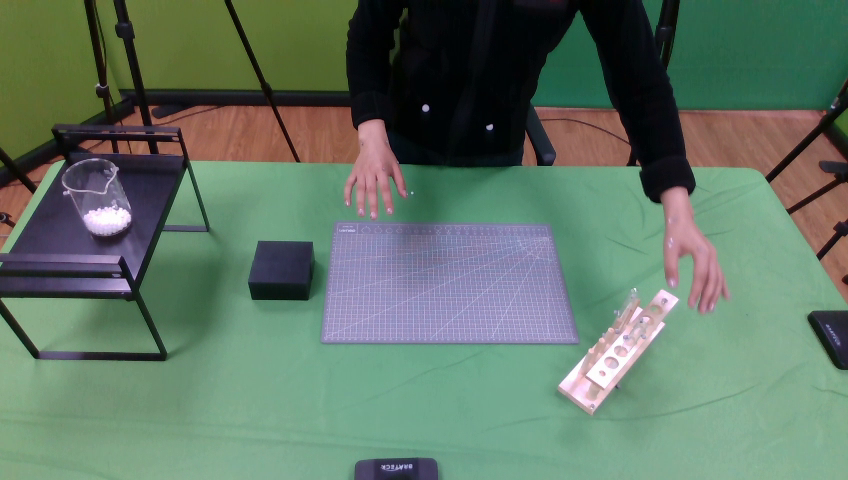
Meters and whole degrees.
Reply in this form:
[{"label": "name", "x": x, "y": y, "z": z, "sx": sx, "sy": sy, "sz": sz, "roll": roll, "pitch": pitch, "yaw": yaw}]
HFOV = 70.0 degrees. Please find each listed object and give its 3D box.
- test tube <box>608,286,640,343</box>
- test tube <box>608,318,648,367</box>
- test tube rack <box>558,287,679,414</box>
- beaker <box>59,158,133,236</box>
[{"label": "test tube", "x": 0.324, "y": 0.123, "z": 0.992, "sx": 0.017, "sy": 0.151, "sz": 0.017, "roll": 2, "pitch": 48, "yaw": -2}, {"label": "test tube", "x": 0.313, "y": 0.169, "z": 0.941, "sx": 0.017, "sy": 0.151, "sz": 0.017, "roll": 4, "pitch": 48, "yaw": -4}, {"label": "test tube rack", "x": 0.326, "y": 0.170, "z": 1.009, "sx": 0.066, "sy": 0.085, "sz": 0.242, "roll": 35, "pitch": 54, "yaw": 27}, {"label": "beaker", "x": -0.488, "y": -0.060, "z": 0.914, "sx": 0.074, "sy": 0.101, "sz": 0.083, "roll": -35, "pitch": 58, "yaw": -30}]
